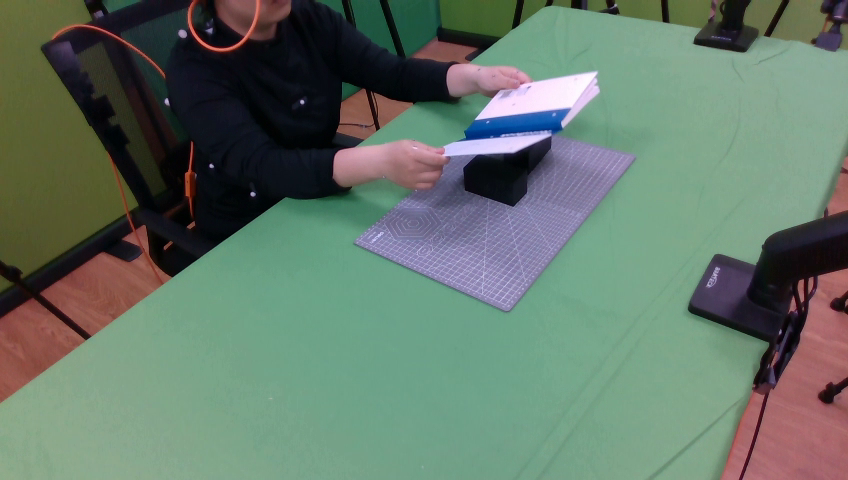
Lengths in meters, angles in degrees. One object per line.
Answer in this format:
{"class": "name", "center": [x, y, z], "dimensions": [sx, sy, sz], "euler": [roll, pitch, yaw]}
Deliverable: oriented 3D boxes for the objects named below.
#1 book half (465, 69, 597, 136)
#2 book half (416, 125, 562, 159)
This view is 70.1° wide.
{"class": "book half", "center": [0.188, -0.244, 1.080], "dimensions": [0.208, 0.016, 0.149], "euler": [2, 45, 46]}
{"class": "book half", "center": [0.105, -0.163, 1.001], "dimensions": [0.208, 0.007, 0.144], "euler": [3, 23, 45]}
